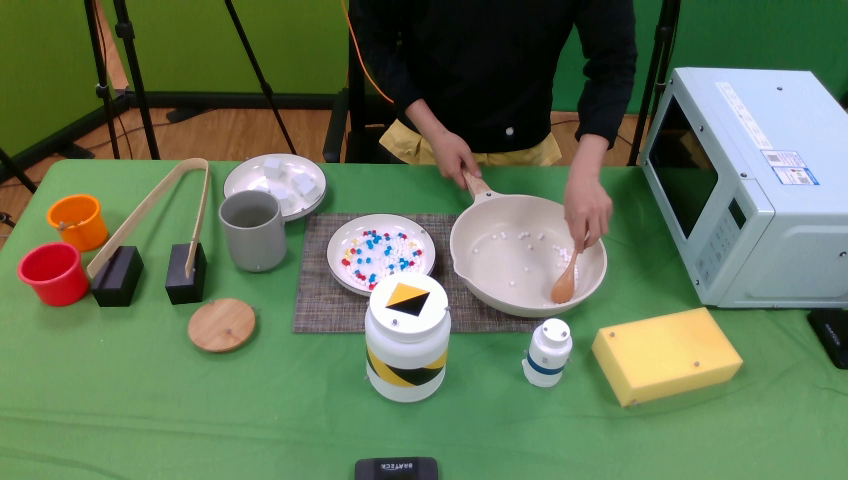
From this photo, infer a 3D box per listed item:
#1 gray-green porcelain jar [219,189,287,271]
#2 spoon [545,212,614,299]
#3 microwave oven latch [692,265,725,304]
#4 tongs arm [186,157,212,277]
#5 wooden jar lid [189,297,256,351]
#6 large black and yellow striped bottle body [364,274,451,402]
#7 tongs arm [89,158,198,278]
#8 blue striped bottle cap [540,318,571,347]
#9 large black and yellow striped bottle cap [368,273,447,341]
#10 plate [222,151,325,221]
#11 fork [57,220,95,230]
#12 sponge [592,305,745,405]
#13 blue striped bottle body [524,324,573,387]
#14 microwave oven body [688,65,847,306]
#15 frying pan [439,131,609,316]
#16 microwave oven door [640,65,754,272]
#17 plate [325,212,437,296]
[{"bbox_3d":[-0.309,-0.014,1.113,0.106,0.127,0.105,2,46,-2],"label":"gray-green porcelain jar"},{"bbox_3d":[0.283,0.028,1.099,0.022,0.194,0.041,23,16,-39],"label":"spoon"},{"bbox_3d":[0.522,0.081,1.116,0.030,0.029,0.078,1,46,-2],"label":"microwave oven latch"},{"bbox_3d":[-0.445,-0.058,1.168,0.051,0.026,0.382,-5,37,-6],"label":"tongs arm"},{"bbox_3d":[-0.342,0.145,1.033,0.108,0.021,0.107,3,45,-2],"label":"wooden jar lid"},{"bbox_3d":[-0.026,0.151,0.937,0.131,0.185,0.130,2,47,-2],"label":"large black and yellow striped bottle body"},{"bbox_3d":[-0.529,-0.058,1.164,0.028,0.028,0.385,1,36,8],"label":"tongs arm"},{"bbox_3d":[0.203,0.142,0.933,0.044,0.021,0.044,3,49,-3],"label":"blue striped bottle cap"},{"bbox_3d":[-0.023,0.094,0.875,0.115,0.019,0.114,2,45,-2],"label":"large black and yellow striped bottle cap"},{"bbox_3d":[-0.310,-0.106,1.263,0.208,0.039,0.206,2,47,-2],"label":"plate"},{"bbox_3d":[-0.624,-0.027,1.086,0.028,0.207,0.018,-3,92,-17],"label":"fork"},{"bbox_3d":[0.405,0.190,1.014,0.207,0.061,0.117,-10,48,-12],"label":"sponge"},{"bbox_3d":[0.200,0.178,0.970,0.063,0.121,0.062,2,46,-2],"label":"blue striped bottle body"},{"bbox_3d":[0.669,-0.111,1.176,0.326,0.261,0.439,0,46,-3],"label":"microwave oven body"},{"bbox_3d":[0.149,-0.049,1.190,0.307,0.103,0.484,-17,58,-20],"label":"frying pan"},{"bbox_3d":[0.524,-0.147,1.193,0.039,0.245,0.353,0,47,-3],"label":"microwave oven door"},{"bbox_3d":[-0.080,0.030,1.143,0.209,0.038,0.208,3,46,-2],"label":"plate"}]
